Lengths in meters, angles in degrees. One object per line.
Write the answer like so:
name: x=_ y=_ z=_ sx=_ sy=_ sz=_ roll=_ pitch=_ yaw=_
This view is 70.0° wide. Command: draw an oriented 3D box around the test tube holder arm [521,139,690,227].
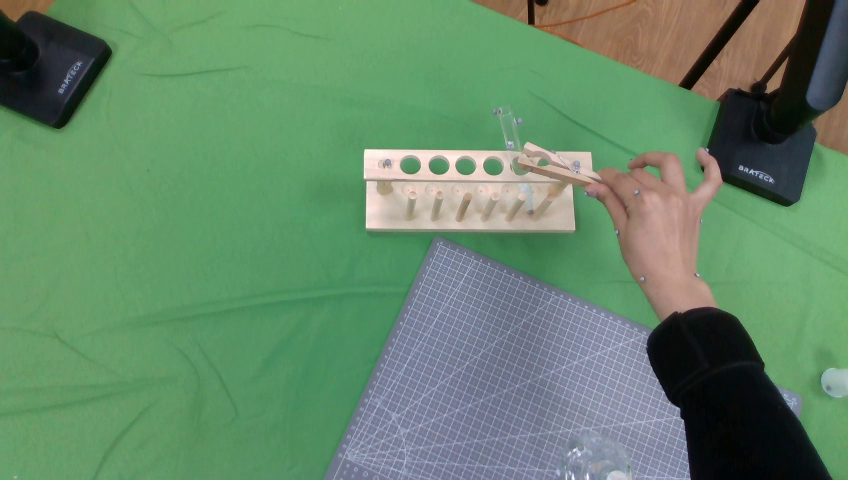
test tube holder arm: x=0.177 y=-0.058 z=0.600 sx=0.177 sy=0.015 sz=0.013 roll=27 pitch=79 yaw=14

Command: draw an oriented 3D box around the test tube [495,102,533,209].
test tube: x=0.097 y=-0.083 z=0.637 sx=0.017 sy=0.152 sz=0.017 roll=-10 pitch=50 yaw=13

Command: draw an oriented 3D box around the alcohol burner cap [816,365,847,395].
alcohol burner cap: x=0.462 y=0.154 z=0.668 sx=0.034 sy=0.048 sz=0.033 roll=1 pitch=74 yaw=-3

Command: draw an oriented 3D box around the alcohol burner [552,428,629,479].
alcohol burner: x=0.168 y=0.225 z=0.591 sx=0.078 sy=0.119 sz=0.077 roll=1 pitch=77 yaw=-4

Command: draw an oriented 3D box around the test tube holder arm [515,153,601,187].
test tube holder arm: x=0.135 y=-0.070 z=0.608 sx=0.087 sy=0.015 sz=0.010 roll=16 pitch=76 yaw=11

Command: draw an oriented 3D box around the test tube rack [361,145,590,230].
test tube rack: x=0.053 y=-0.056 z=0.671 sx=0.242 sy=0.085 sz=0.066 roll=0 pitch=75 yaw=-4
